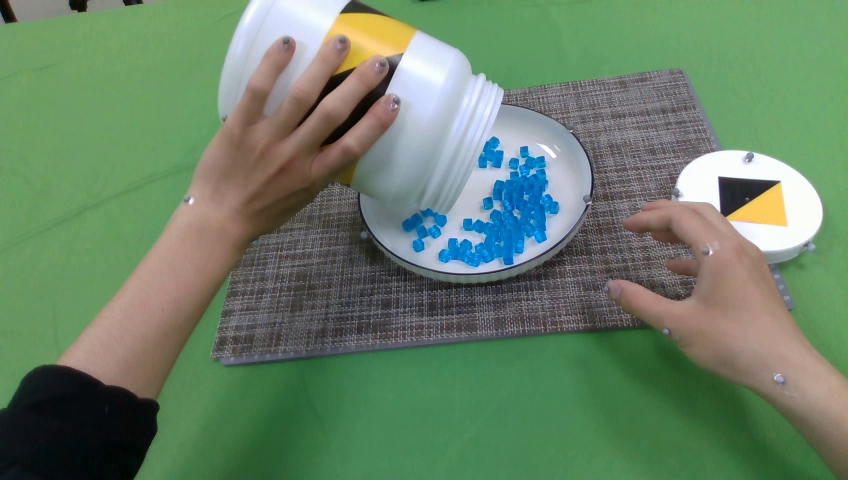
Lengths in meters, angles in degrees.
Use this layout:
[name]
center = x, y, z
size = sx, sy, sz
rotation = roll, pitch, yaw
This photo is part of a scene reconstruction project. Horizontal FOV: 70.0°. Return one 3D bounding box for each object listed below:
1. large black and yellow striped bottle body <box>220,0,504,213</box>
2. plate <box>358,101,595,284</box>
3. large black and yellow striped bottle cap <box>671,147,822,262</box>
[large black and yellow striped bottle body]
center = -0.044, -0.107, 0.466
size = 0.184, 0.131, 0.130
rotation = 24, 56, -5
[plate]
center = 0.046, -0.044, 0.542
size = 0.207, 0.039, 0.205
rotation = -5, 52, 6
[large black and yellow striped bottle cap]
center = 0.269, -0.033, 0.507
size = 0.115, 0.019, 0.114
rotation = -2, 53, 4
